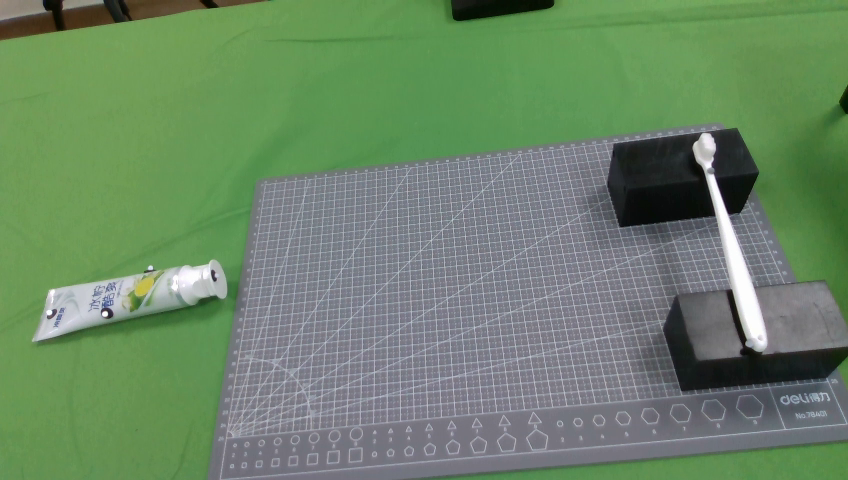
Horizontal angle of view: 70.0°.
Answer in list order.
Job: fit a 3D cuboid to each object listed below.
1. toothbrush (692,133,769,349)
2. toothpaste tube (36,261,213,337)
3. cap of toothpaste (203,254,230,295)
[{"bbox_3d":[0.217,-0.008,0.430,0.014,0.017,0.180,5,56,-3],"label":"toothbrush"},{"bbox_3d":[-0.256,0.045,0.527,0.165,0.035,0.054,-12,48,5],"label":"toothpaste tube"},{"bbox_3d":[-0.178,0.030,0.517,0.011,0.038,0.037,-14,53,0],"label":"cap of toothpaste"}]
